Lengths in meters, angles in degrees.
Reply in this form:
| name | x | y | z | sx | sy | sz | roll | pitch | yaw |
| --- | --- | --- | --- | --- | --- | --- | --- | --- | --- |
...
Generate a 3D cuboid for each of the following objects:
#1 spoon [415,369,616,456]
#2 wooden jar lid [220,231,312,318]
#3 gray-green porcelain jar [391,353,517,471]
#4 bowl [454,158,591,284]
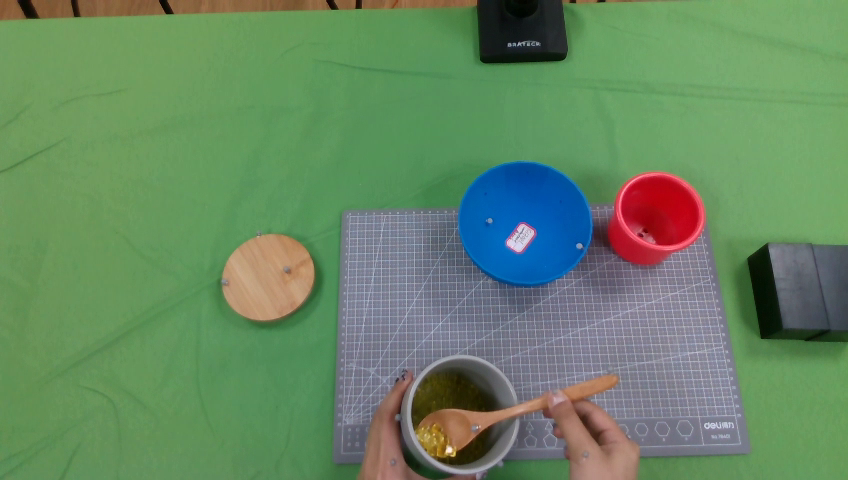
| name | x | y | z | sx | sy | sz | roll | pitch | yaw |
| --- | --- | --- | --- | --- | --- | --- | --- | --- | --- |
| spoon | 0.082 | 0.155 | 0.554 | 0.193 | 0.022 | 0.041 | -22 | 75 | 15 |
| wooden jar lid | -0.187 | 0.042 | 0.724 | 0.108 | 0.021 | 0.107 | -1 | 69 | 2 |
| gray-green porcelain jar | 0.023 | 0.174 | 0.605 | 0.106 | 0.127 | 0.105 | 3 | 71 | -10 |
| bowl | 0.110 | -0.011 | 0.705 | 0.151 | 0.077 | 0.150 | 0 | 69 | 1 |
